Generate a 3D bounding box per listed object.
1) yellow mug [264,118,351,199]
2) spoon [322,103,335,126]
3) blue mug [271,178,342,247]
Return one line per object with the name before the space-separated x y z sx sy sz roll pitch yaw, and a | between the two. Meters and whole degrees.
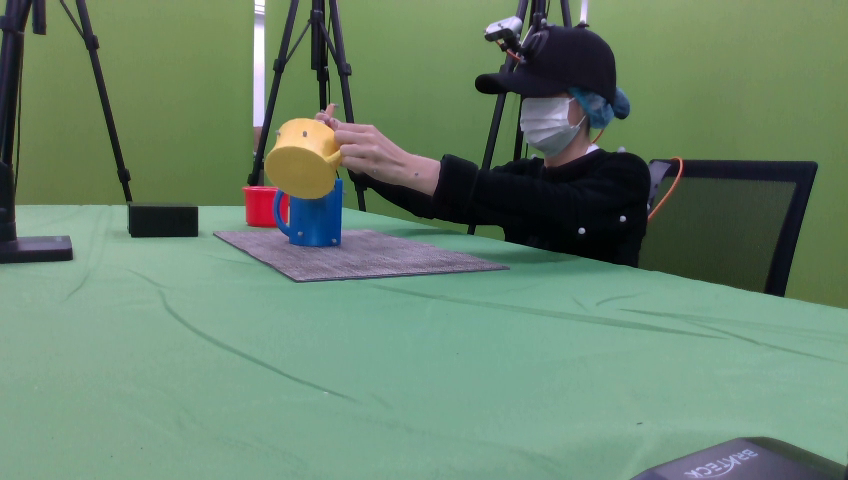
yellow mug | -0.158 -0.121 0.866 0.130 0.100 0.064 -15 43 26
spoon | -0.169 -0.164 0.952 0.041 0.022 0.193 -6 37 15
blue mug | -0.190 -0.047 0.963 0.116 0.106 0.082 4 7 13
